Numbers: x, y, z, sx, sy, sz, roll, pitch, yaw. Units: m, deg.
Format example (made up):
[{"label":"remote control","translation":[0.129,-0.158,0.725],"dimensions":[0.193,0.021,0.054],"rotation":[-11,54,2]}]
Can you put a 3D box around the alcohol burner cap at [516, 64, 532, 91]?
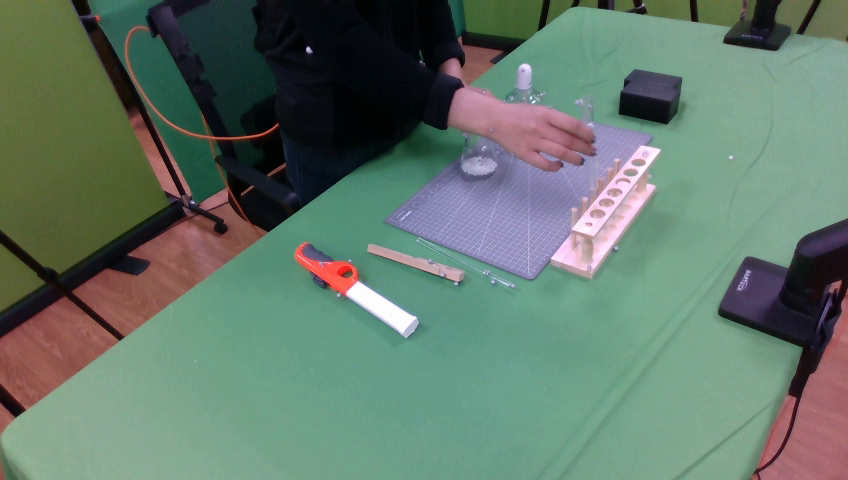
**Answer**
[{"label":"alcohol burner cap","translation":[0.200,-0.324,1.197],"dimensions":[0.034,0.048,0.033],"rotation":[-1,45,1]}]

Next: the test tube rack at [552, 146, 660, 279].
[{"label":"test tube rack","translation":[0.287,-0.053,0.943],"dimensions":[0.066,0.085,0.243],"rotation":[21,49,32]}]

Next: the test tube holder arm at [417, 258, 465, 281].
[{"label":"test tube holder arm","translation":[0.022,0.046,0.931],"dimensions":[0.087,0.015,0.010],"rotation":[16,10,28]}]

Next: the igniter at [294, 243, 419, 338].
[{"label":"igniter","translation":[-0.113,0.070,0.919],"dimensions":[0.274,0.025,0.057],"rotation":[29,63,37]}]

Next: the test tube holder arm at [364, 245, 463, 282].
[{"label":"test tube holder arm","translation":[-0.019,0.035,0.946],"dimensions":[0.177,0.015,0.013],"rotation":[15,10,26]}]

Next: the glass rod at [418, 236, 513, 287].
[{"label":"glass rod","translation":[0.060,0.032,0.944],"dimensions":[0.198,0.008,0.008],"rotation":[27,52,38]}]

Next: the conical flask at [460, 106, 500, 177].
[{"label":"conical flask","translation":[0.098,-0.181,1.097],"dimensions":[0.075,0.122,0.075],"rotation":[-6,40,5]}]

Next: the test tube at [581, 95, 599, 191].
[{"label":"test tube","translation":[0.229,-0.129,0.830],"dimensions":[0.017,0.151,0.017],"rotation":[-10,39,9]}]

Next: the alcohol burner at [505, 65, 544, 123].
[{"label":"alcohol burner","translation":[0.203,-0.297,1.221],"dimensions":[0.078,0.119,0.077],"rotation":[-4,39,4]}]
